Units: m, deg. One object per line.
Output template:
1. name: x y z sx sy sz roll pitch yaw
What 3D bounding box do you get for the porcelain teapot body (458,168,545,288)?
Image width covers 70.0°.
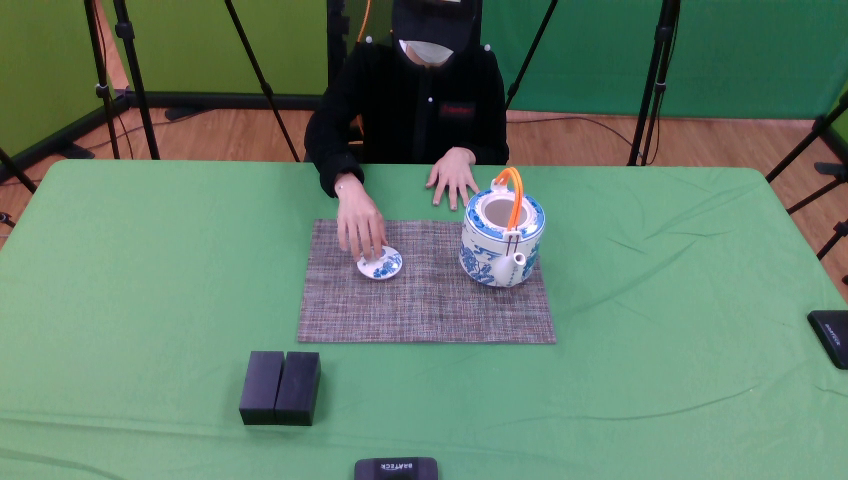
1. porcelain teapot body: 0.146 -0.006 1.070 0.145 0.226 0.204 -4 47 -8

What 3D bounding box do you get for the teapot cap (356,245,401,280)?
1. teapot cap: -0.085 0.038 1.135 0.085 0.044 0.084 5 47 -6
